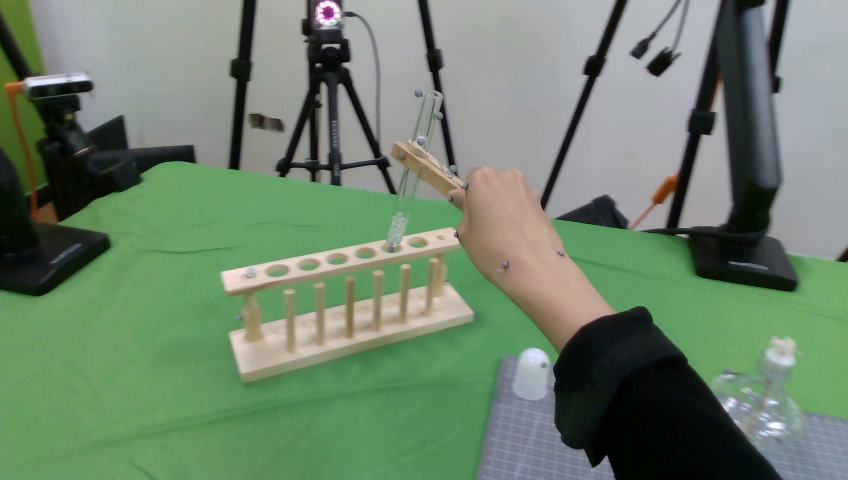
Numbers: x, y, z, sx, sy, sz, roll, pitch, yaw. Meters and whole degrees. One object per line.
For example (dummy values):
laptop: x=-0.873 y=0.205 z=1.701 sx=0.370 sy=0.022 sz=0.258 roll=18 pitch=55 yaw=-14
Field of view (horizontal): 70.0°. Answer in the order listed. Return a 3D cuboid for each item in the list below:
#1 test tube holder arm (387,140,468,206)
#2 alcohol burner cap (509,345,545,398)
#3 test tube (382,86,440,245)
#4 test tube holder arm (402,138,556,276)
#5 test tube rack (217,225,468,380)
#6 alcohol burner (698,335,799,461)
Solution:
test tube holder arm: x=0.004 y=-0.055 z=0.492 sx=0.087 sy=0.015 sz=0.010 roll=37 pitch=38 yaw=25
alcohol burner cap: x=0.097 y=0.118 z=0.561 sx=0.034 sy=0.048 sz=0.033 roll=3 pitch=32 yaw=-1
test tube: x=-0.013 y=-0.058 z=0.514 sx=0.017 sy=0.151 sz=0.017 roll=12 pitch=32 yaw=-8
test tube holder arm: x=0.037 y=-0.031 z=0.474 sx=0.013 sy=0.015 sz=0.176 roll=-17 pitch=47 yaw=-40
test tube rack: x=-0.073 y=0.057 z=0.612 sx=0.243 sy=0.086 sz=0.066 roll=-12 pitch=34 yaw=-23
alcohol burner: x=0.271 y=0.124 z=0.499 sx=0.078 sy=0.120 sz=0.077 roll=3 pitch=33 yaw=-1
